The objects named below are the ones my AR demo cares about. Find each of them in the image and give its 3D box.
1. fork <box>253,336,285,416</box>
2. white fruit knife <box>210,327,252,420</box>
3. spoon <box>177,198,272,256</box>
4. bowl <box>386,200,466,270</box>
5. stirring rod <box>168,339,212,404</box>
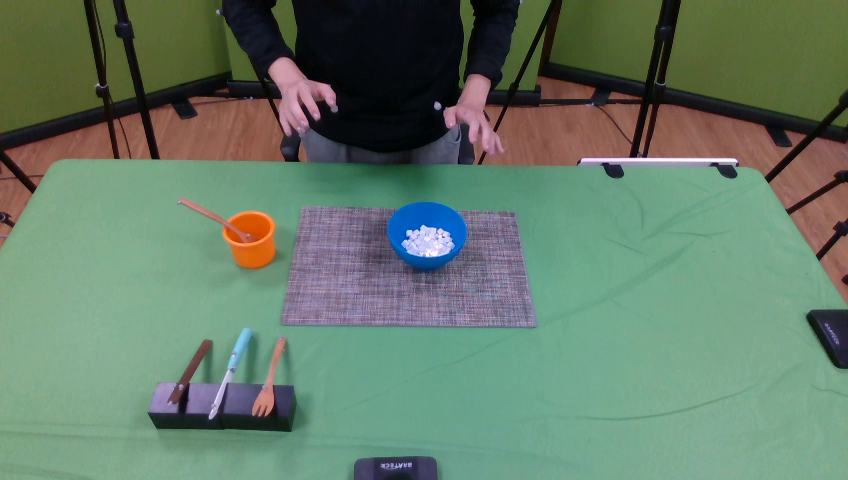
[{"bbox_3d":[-0.235,0.206,0.938,0.028,0.019,0.206,-3,26,-3],"label":"fork"},{"bbox_3d":[-0.298,0.200,0.937,0.016,0.027,0.206,-1,30,0],"label":"white fruit knife"},{"bbox_3d":[-0.361,-0.025,1.107,0.021,0.195,0.041,-31,37,29],"label":"spoon"},{"bbox_3d":[0.002,0.003,1.150,0.151,0.077,0.150,2,46,-2],"label":"bowl"},{"bbox_3d":[-0.360,0.199,0.939,0.014,0.006,0.175,9,20,-6],"label":"stirring rod"}]
